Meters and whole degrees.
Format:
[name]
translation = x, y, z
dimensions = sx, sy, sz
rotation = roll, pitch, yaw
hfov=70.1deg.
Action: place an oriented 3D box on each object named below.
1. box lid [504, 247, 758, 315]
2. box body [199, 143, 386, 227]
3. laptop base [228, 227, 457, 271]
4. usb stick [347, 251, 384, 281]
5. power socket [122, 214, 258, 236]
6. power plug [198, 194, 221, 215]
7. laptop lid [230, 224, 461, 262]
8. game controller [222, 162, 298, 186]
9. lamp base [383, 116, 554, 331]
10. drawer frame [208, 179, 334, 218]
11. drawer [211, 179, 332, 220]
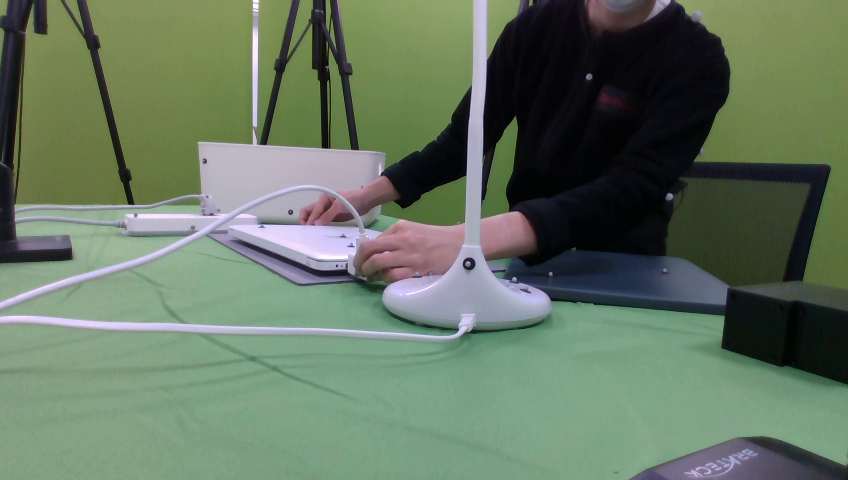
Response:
[box lid]
translation = 0.244, 0.044, 0.793
dimensions = 0.263, 0.015, 0.372
rotation = 4, 6, 10
[box body]
translation = -0.276, -0.124, 1.335
dimensions = 0.364, 0.160, 0.254
rotation = 3, 7, 1
[laptop base]
translation = -0.122, 0.011, 0.889
dimensions = 0.237, 0.023, 0.352
rotation = 2, 6, -35
[usb stick]
translation = -0.069, 0.028, 0.682
dimensions = 0.021, 0.027, 0.059
rotation = -10, 11, -35
[power socket]
translation = -0.399, -0.028, 1.049
dimensions = 0.228, 0.032, 0.072
rotation = -3, 8, -34
[power plug]
translation = -0.387, -0.055, 1.089
dimensions = 0.035, 0.052, 0.072
rotation = -1, 7, -22
[laptop lid]
translation = -0.120, 0.000, 0.889
dimensions = 0.243, 0.013, 0.355
rotation = 1, 7, -33
[game controller]
translation = -0.357, -0.143, 1.322
dimensions = 0.156, 0.051, 0.097
rotation = 1, 2, -16
[lamp base]
translation = 0.045, -0.019, 0.547
dimensions = 0.161, 0.180, 0.179
rotation = 2, 10, -4
[drawer frame]
translation = -0.327, -0.093, 1.328
dimensions = 0.213, 0.082, 0.202
rotation = 0, 5, 6
[drawer]
translation = -0.328, -0.095, 1.332
dimensions = 0.212, 0.073, 0.194
rotation = 5, 8, 6
